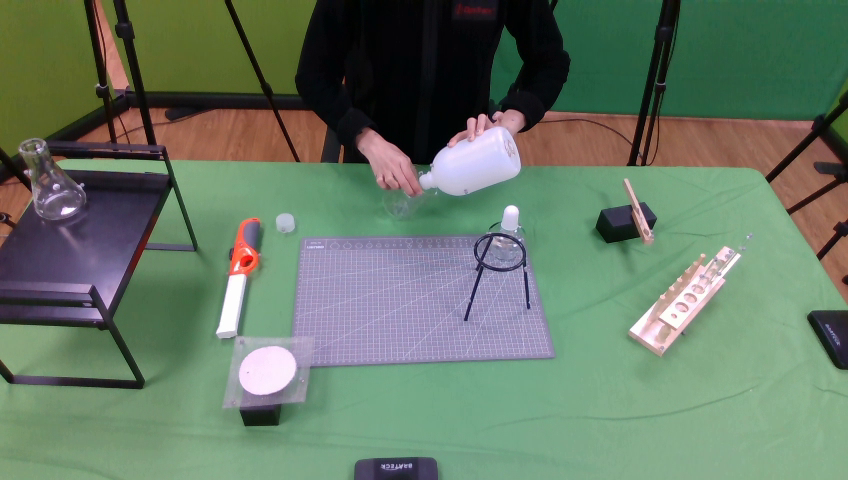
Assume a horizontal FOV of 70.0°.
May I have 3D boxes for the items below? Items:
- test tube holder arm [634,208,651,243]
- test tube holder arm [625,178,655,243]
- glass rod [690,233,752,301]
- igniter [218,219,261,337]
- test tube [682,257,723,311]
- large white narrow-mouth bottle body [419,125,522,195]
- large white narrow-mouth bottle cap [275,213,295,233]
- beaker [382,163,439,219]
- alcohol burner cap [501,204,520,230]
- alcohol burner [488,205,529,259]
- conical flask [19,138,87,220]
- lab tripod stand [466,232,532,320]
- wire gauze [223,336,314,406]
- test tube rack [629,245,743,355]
[{"bbox_3d":[0.428,-0.030,1.189,0.010,0.015,0.087,1,47,-2],"label":"test tube holder arm"},{"bbox_3d":[0.433,-0.062,1.220,0.013,0.015,0.177,1,47,-3],"label":"test tube holder arm"},{"bbox_3d":[0.507,0.053,1.041,0.008,0.200,0.008,5,51,-6],"label":"glass rod"},{"bbox_3d":[-0.336,0.060,1.111,0.057,0.025,0.274,-8,46,3],"label":"igniter"},{"bbox_3d":[0.475,0.080,1.037,0.017,0.151,0.017,1,51,-1],"label":"test tube"},{"bbox_3d":[0.080,-0.141,1.154,0.194,0.102,0.101,-18,40,24],"label":"large white narrow-mouth bottle body"},{"bbox_3d":[-0.277,-0.034,1.213,0.038,0.024,0.037,3,46,-3],"label":"large white narrow-mouth bottle cap"},{"bbox_3d":[-0.029,-0.094,1.222,0.084,0.100,0.073,39,38,-15],"label":"beaker"},{"bbox_3d":[0.164,-0.046,1.133,0.034,0.048,0.033,2,40,-2],"label":"alcohol burner cap"},{"bbox_3d":[0.163,-0.020,1.158,0.078,0.120,0.077,0,47,0],"label":"alcohol burner"},{"bbox_3d":[-0.576,-0.097,0.930,0.075,0.122,0.075,2,46,-2],"label":"conical flask"},{"bbox_3d":[0.125,0.059,1.065,0.148,0.132,0.147,1,45,0],"label":"lab tripod stand"},{"bbox_3d":[-0.237,0.197,0.931,0.121,0.011,0.124,1,45,-4],"label":"wire gauze"},{"bbox_3d":[0.474,0.095,1.091,0.242,0.085,0.066,-34,56,-31],"label":"test tube rack"}]
